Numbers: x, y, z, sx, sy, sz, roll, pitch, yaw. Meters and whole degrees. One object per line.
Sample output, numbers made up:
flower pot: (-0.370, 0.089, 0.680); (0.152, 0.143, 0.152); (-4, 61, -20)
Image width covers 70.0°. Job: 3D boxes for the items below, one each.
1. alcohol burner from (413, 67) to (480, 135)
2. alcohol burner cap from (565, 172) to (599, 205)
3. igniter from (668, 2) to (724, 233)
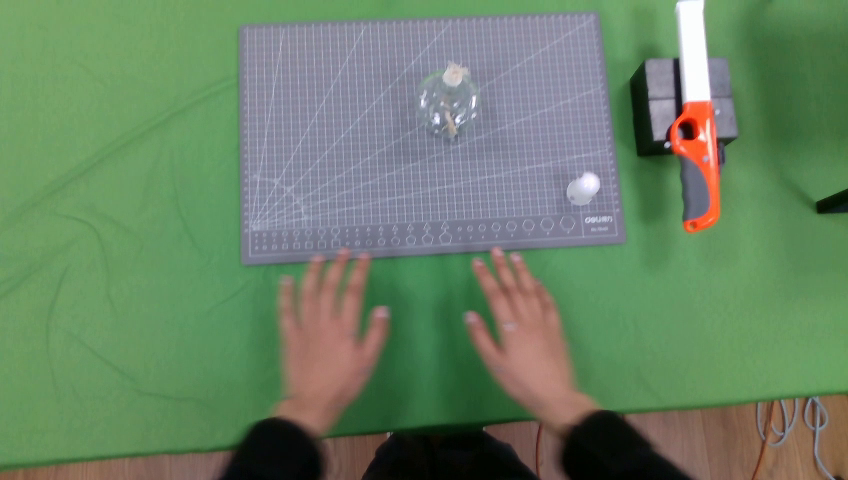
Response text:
alcohol burner: (0.027, -0.164, 0.683); (0.078, 0.119, 0.077); (1, 79, -4)
alcohol burner cap: (0.186, -0.062, 0.707); (0.034, 0.048, 0.033); (1, 78, -2)
igniter: (0.307, -0.143, 0.691); (0.057, 0.025, 0.275); (0, 78, 9)
